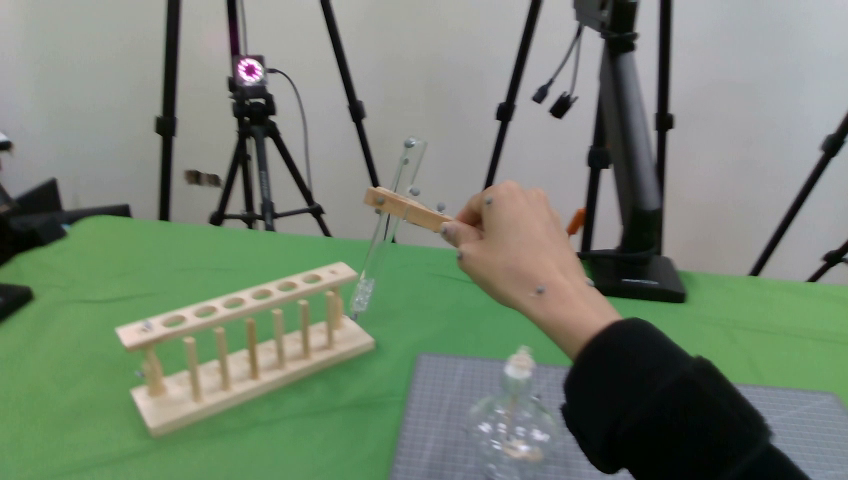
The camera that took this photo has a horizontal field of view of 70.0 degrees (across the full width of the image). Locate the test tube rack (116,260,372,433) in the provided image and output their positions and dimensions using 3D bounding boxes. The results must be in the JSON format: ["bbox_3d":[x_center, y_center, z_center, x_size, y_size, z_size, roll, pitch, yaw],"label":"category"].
[{"bbox_3d":[-0.175,0.101,0.631,0.243,0.086,0.066,-17,32,-33],"label":"test tube rack"}]

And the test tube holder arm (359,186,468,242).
[{"bbox_3d":[-0.008,-0.020,0.452,0.087,0.015,0.010,21,19,14],"label":"test tube holder arm"}]

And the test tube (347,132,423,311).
[{"bbox_3d":[-0.032,-0.011,0.469,0.017,0.150,0.017,19,17,-6],"label":"test tube"}]

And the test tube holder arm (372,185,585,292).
[{"bbox_3d":[0.033,-0.004,0.442,0.177,0.015,0.013,24,20,22],"label":"test tube holder arm"}]

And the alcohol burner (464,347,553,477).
[{"bbox_3d":[0.074,0.143,0.522,0.078,0.120,0.077,2,25,-1],"label":"alcohol burner"}]
